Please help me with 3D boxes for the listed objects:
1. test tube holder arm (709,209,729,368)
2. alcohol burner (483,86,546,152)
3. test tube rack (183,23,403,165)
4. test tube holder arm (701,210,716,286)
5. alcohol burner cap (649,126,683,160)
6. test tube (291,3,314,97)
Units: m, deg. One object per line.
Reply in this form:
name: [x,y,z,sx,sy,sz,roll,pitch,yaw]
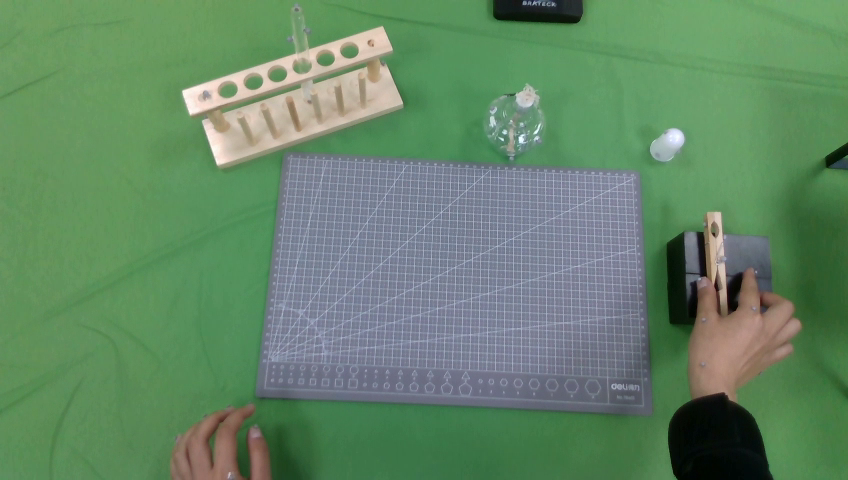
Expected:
test tube holder arm: [0.329,0.053,0.678,0.013,0.015,0.177,-1,77,9]
alcohol burner: [0.112,-0.153,0.724,0.078,0.119,0.077,1,75,-4]
test tube rack: [-0.150,-0.175,0.732,0.242,0.085,0.066,-21,76,-8]
test tube holder arm: [0.324,0.009,0.689,0.010,0.015,0.087,0,77,9]
alcohol burner cap: [0.306,-0.124,0.761,0.034,0.048,0.033,0,74,-1]
test tube: [-0.137,-0.211,0.691,0.017,0.151,0.017,2,68,-5]
